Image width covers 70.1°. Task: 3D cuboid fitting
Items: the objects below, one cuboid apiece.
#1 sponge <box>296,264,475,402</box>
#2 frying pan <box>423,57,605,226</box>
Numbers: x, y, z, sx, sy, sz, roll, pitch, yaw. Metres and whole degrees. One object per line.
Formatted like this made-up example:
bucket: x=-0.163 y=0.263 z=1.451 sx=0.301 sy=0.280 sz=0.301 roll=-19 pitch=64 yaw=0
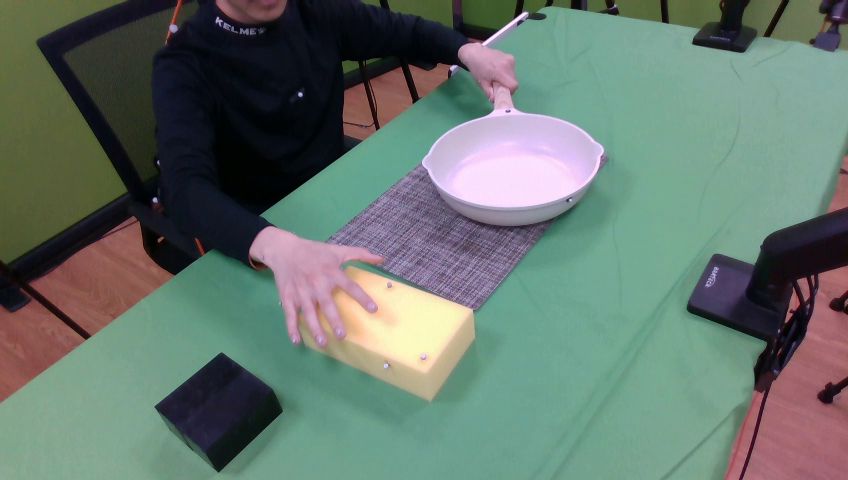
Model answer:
sponge: x=-0.050 y=0.118 z=0.811 sx=0.205 sy=0.061 sz=0.118 roll=18 pitch=47 yaw=26
frying pan: x=0.155 y=-0.200 z=1.111 sx=0.307 sy=0.103 sz=0.485 roll=-2 pitch=49 yaw=5
